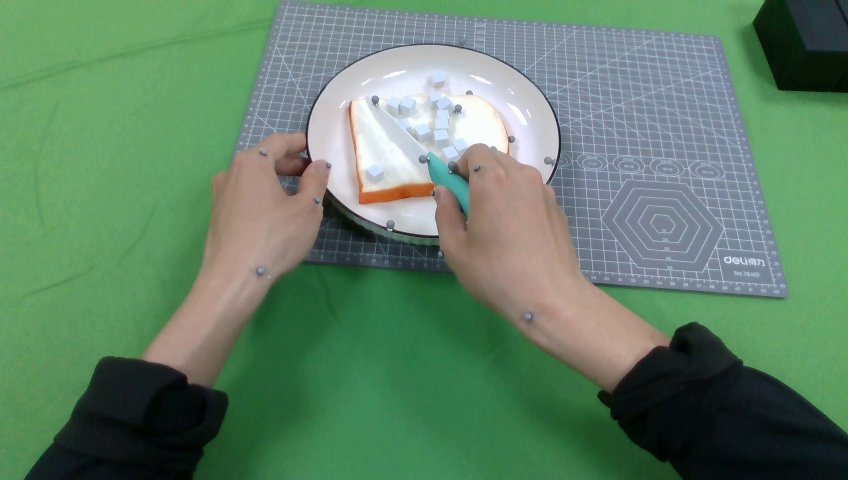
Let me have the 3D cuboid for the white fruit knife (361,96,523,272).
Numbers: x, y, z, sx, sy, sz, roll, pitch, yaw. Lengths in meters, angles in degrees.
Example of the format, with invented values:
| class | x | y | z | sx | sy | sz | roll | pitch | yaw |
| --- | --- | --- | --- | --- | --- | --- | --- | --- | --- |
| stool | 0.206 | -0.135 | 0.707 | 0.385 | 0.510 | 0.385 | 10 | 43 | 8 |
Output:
| class | x | y | z | sx | sy | sz | roll | pitch | yaw |
| --- | --- | --- | --- | --- | --- | --- | --- | --- | --- |
| white fruit knife | 0.005 | -0.052 | 0.446 | 0.016 | 0.027 | 0.205 | -22 | 52 | -28 |

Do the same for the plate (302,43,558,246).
| class | x | y | z | sx | sy | sz | roll | pitch | yaw |
| --- | --- | --- | --- | --- | --- | --- | --- | --- | --- |
| plate | 0.005 | -0.080 | 0.504 | 0.209 | 0.038 | 0.207 | 2 | 59 | -2 |

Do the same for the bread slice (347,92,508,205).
| class | x | y | z | sx | sy | sz | roll | pitch | yaw |
| --- | --- | --- | --- | --- | --- | --- | --- | --- | --- |
| bread slice | 0.003 | -0.084 | 0.509 | 0.132 | 0.019 | 0.104 | -9 | 59 | -7 |
